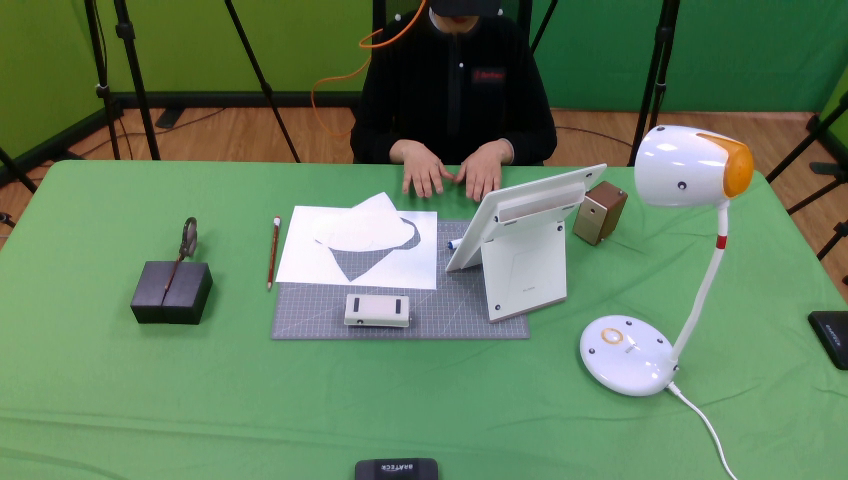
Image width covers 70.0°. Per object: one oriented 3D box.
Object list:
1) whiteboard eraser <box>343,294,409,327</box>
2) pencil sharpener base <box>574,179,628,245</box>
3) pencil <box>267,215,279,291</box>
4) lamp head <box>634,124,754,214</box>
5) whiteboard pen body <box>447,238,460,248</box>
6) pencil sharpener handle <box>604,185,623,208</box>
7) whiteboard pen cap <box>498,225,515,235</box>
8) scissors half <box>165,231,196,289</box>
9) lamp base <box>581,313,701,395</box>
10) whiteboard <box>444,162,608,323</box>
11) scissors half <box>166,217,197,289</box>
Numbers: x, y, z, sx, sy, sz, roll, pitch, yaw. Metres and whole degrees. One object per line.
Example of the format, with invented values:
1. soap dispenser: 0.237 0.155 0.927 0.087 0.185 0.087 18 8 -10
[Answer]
1. whiteboard eraser: -0.082 0.124 1.053 0.113 0.042 0.055 2 45 -2
2. pencil sharpener base: 0.355 -0.057 1.217 0.076 0.107 0.061 -33 56 -31
3. pencil: -0.291 0.022 1.164 0.012 0.012 0.192 -2 48 -6
4. lamp head: 0.351 -0.089 0.775 0.112 0.113 0.122 -30 30 -28
5. whiteboard pen body: 0.112 -0.005 1.203 0.141 0.017 0.017 -14 49 -18
6. pencil sharpener handle: 0.390 -0.091 1.235 0.030 0.068 0.036 -33 69 -31
7. whiteboard pen cap: 0.166 -0.019 1.222 0.033 0.018 0.018 -14 49 -19
8. scissors half: -0.441 0.036 1.098 0.013 0.040 0.174 12 28 -10
9. lamp base: 0.361 0.144 0.973 0.178 0.181 0.160 34 53 23
10. whiteboard: 0.186 0.025 1.029 0.217 0.306 0.143 -14 68 -18
11. scissors half: -0.436 0.020 1.086 0.013 0.040 0.174 7 47 -7
